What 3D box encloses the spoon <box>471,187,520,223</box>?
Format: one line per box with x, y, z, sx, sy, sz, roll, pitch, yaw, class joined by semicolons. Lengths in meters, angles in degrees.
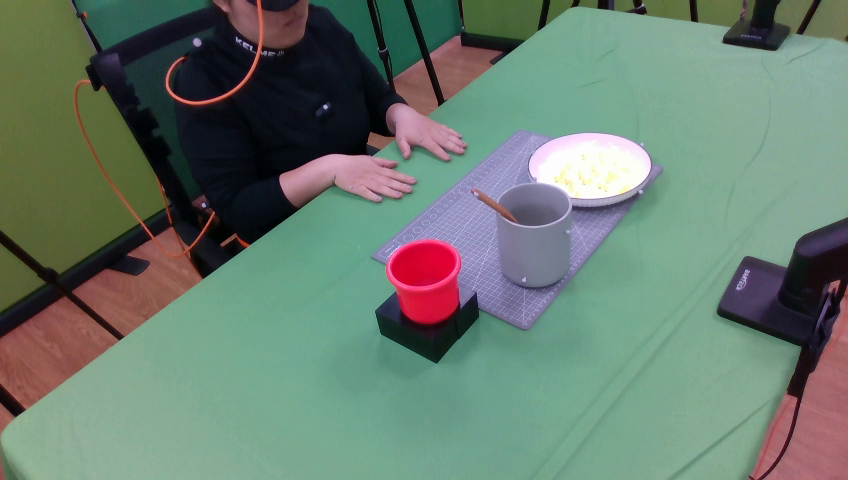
0.122;-0.026;0.837;0.021;0.195;0.041;-32;47;19;spoon

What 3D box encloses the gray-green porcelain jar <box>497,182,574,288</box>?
0.160;-0.003;0.870;0.106;0.127;0.105;-5;40;5;gray-green porcelain jar

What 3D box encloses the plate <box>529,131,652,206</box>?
0.287;-0.122;1.056;0.207;0.039;0.206;-5;40;5;plate
